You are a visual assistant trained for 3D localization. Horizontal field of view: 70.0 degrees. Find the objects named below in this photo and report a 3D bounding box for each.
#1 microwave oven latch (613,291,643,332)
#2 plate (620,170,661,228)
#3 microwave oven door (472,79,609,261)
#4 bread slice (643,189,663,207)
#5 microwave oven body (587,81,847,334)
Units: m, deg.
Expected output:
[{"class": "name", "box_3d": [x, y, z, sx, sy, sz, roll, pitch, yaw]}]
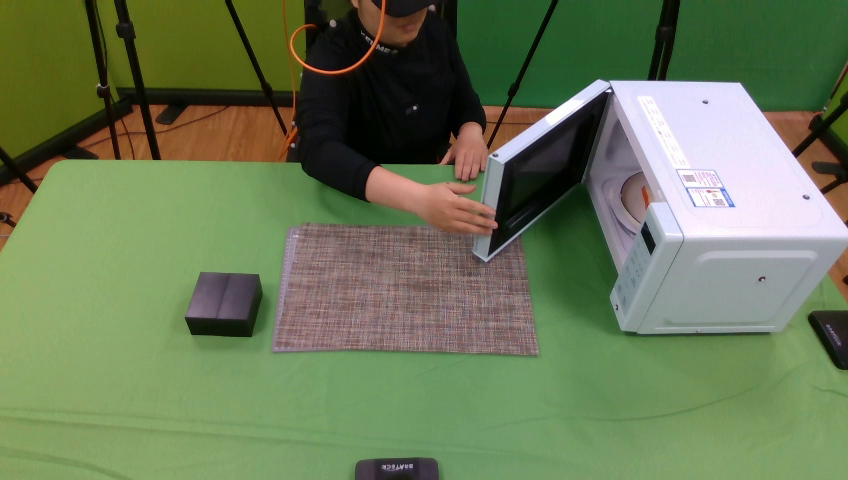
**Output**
[{"class": "microwave oven latch", "box_3d": [0.357, 0.124, 1.068, 0.030, 0.029, 0.078, 1, 45, -2]}, {"class": "plate", "box_3d": [0.490, -0.060, 1.194, 0.209, 0.038, 0.208, 3, 45, -2]}, {"class": "microwave oven door", "box_3d": [0.230, -0.140, 1.174, 0.039, 0.245, 0.355, 35, 53, 27]}, {"class": "bread slice", "box_3d": [0.494, -0.055, 1.197, 0.105, 0.019, 0.131, 7, 41, 4]}, {"class": "microwave oven body", "box_3d": [0.501, -0.070, 1.132, 0.326, 0.261, 0.438, -1, 45, -3]}]
